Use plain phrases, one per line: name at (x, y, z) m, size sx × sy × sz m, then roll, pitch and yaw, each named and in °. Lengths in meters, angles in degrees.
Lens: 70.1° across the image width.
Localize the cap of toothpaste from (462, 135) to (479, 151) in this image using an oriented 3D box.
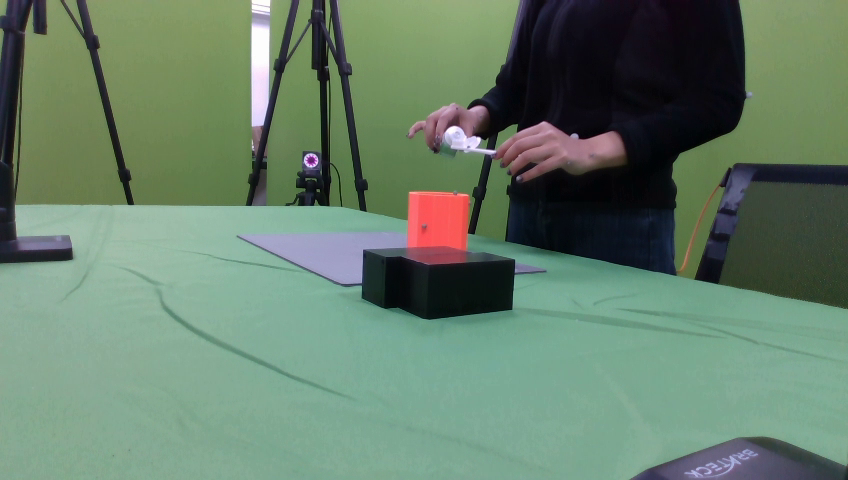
cap of toothpaste at (0.075, -0.161, 0.996) m, size 0.037 × 0.011 × 0.037 m, roll -32°, pitch 26°, yaw 19°

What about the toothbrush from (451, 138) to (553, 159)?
toothbrush at (0.119, -0.143, 0.946) m, size 0.181 × 0.016 × 0.014 m, roll 14°, pitch 4°, yaw 34°

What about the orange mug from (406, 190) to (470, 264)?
orange mug at (0.027, -0.023, 0.866) m, size 0.083 × 0.101 × 0.126 m, roll 6°, pitch 12°, yaw 24°

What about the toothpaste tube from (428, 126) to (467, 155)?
toothpaste tube at (0.046, -0.174, 1.081) m, size 0.055 × 0.034 × 0.165 m, roll 23°, pitch -4°, yaw -8°
